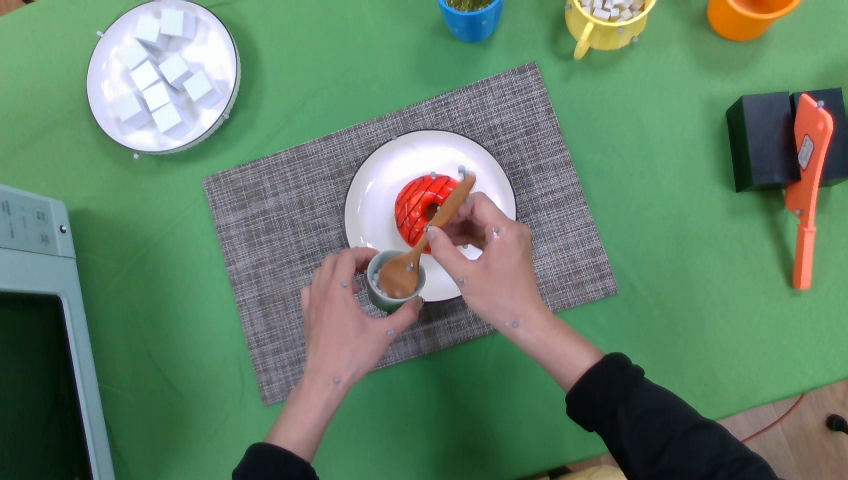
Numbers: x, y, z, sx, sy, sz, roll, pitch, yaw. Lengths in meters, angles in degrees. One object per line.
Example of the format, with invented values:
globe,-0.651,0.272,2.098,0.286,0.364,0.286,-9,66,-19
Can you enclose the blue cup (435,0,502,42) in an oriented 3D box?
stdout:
blue cup,0.054,-0.285,0.719,0.092,0.100,0.092,-1,85,6

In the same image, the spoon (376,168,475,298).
spoon,0.000,0.000,0.561,0.041,0.194,0.021,43,50,6

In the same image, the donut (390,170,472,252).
donut,0.008,-0.034,0.713,0.099,0.048,0.099,-1,84,8

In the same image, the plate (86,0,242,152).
plate,-0.334,-0.213,0.790,0.207,0.039,0.207,-1,83,7

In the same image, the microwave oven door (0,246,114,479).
microwave oven door,-0.434,0.178,0.637,0.039,0.244,0.354,-16,82,5

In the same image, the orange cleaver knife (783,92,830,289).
orange cleaver knife,0.409,-0.051,0.659,0.012,0.077,0.212,-3,112,9

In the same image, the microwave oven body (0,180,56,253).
microwave oven body,-0.584,0.176,0.660,0.326,0.261,0.440,-15,82,5

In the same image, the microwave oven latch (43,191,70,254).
microwave oven latch,-0.473,-0.020,0.766,0.030,0.029,0.079,-13,83,5

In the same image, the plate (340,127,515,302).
plate,0.005,-0.031,0.725,0.209,0.038,0.208,-1,84,7

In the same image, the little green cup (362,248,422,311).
little green cup,-0.035,0.044,0.633,0.062,0.039,0.061,6,59,-9

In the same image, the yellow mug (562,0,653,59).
yellow mug,0.209,-0.273,0.717,0.099,0.064,0.131,30,89,9
